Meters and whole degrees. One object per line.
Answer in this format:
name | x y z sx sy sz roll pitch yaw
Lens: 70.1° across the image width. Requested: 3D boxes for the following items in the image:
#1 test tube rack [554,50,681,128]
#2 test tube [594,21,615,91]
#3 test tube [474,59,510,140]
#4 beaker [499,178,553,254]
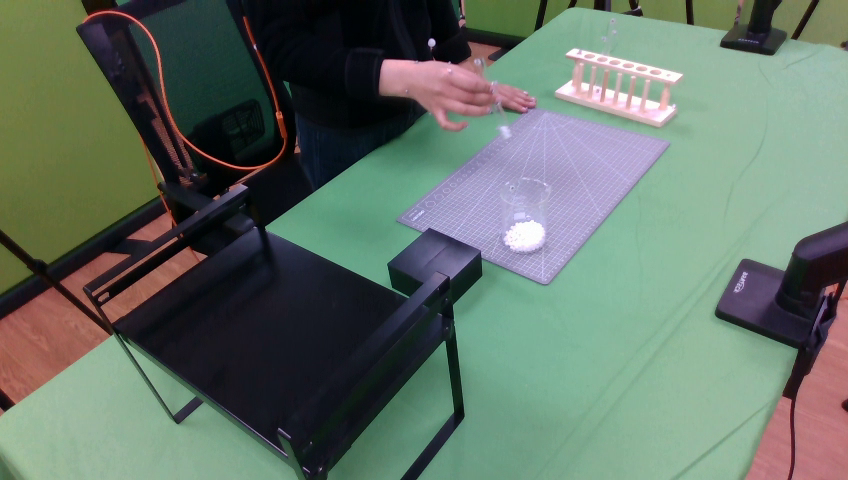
test tube rack | 0.388 -0.311 1.234 0.240 0.085 0.067 28 52 35
test tube | 0.367 -0.372 1.232 0.017 0.151 0.017 0 43 0
test tube | 0.110 -0.219 0.958 0.017 0.151 0.017 -16 41 15
beaker | 0.158 -0.036 0.929 0.084 0.100 0.073 -16 41 -12
